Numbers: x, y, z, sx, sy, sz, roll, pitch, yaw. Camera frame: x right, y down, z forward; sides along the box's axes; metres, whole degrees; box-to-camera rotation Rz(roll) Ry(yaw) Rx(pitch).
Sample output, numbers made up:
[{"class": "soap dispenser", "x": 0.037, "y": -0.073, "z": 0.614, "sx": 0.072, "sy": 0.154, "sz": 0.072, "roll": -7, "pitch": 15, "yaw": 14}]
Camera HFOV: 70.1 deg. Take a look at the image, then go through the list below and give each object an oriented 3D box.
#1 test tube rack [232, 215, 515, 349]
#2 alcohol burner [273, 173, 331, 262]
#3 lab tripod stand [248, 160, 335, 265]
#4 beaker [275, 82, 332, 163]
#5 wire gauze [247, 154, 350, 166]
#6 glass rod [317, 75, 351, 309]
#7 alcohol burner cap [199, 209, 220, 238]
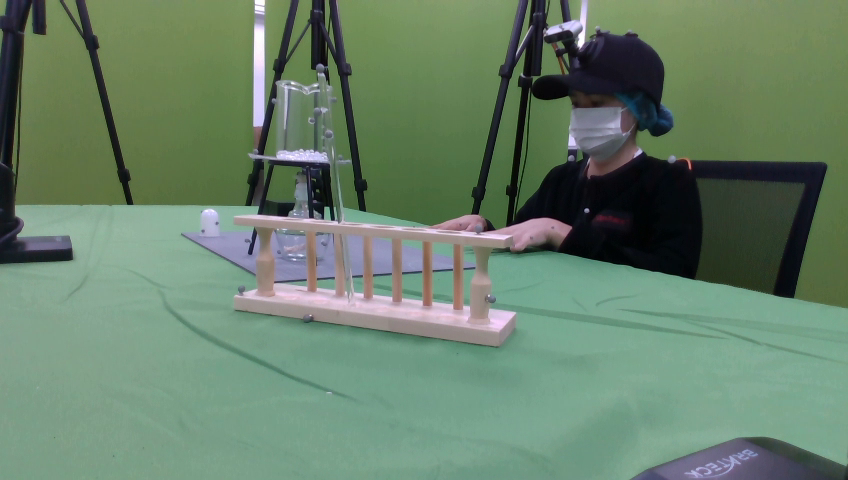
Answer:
[{"class": "test tube rack", "x": -0.045, "y": 0.028, "z": 0.525, "sx": 0.242, "sy": 0.085, "sz": 0.067, "roll": 5, "pitch": 8, "yaw": 19}, {"class": "alcohol burner", "x": -0.164, "y": -0.030, "z": 0.812, "sx": 0.078, "sy": 0.119, "sz": 0.078, "roll": 2, "pitch": 9, "yaw": 0}, {"class": "lab tripod stand", "x": -0.165, "y": -0.041, "z": 0.817, "sx": 0.148, "sy": 0.131, "sz": 0.148, "roll": 5, "pitch": 7, "yaw": 0}, {"class": "beaker", "x": -0.159, "y": -0.152, "z": 0.795, "sx": 0.074, "sy": 0.100, "sz": 0.083, "roll": 1, "pitch": 8, "yaw": -15}, {"class": "wire gauze", "x": -0.170, "y": -0.105, "z": 0.802, "sx": 0.122, "sy": 0.011, "sz": 0.124, "roll": -1, "pitch": 11, "yaw": -20}, {"class": "glass rod", "x": -0.075, "y": -0.036, "z": 0.502, "sx": 0.008, "sy": 0.199, "sz": 0.008, "roll": -5, "pitch": 8, "yaw": 1}, {"class": "alcohol burner cap", "x": -0.356, "y": -0.027, "z": 1.002, "sx": 0.034, "sy": 0.048, "sz": 0.034, "roll": 2, "pitch": 7, "yaw": 0}]
